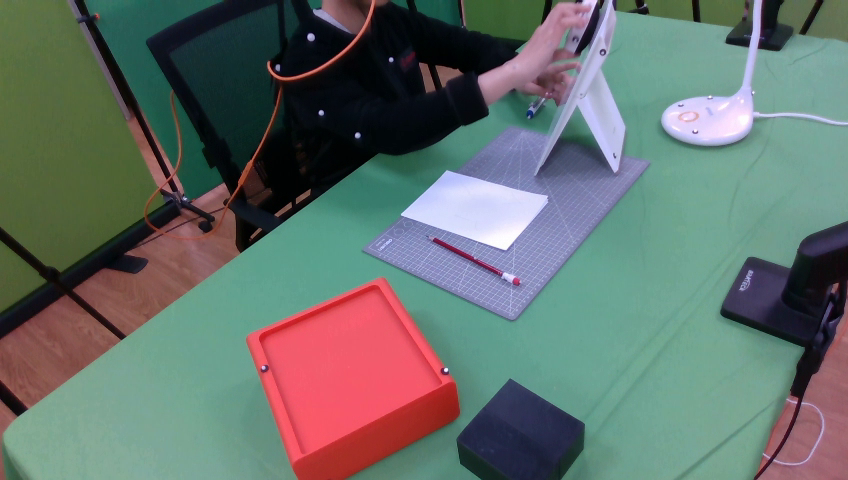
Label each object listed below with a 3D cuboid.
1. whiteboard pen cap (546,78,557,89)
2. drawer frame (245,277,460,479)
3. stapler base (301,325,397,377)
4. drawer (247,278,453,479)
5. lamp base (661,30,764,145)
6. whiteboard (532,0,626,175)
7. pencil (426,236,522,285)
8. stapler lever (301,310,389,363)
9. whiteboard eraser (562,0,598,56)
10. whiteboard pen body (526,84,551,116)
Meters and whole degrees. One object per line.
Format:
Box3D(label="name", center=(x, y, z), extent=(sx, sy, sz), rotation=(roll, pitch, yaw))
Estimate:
Box3D(label="whiteboard pen cap", center=(0.280, -0.344, 1.335), extent=(0.018, 0.018, 0.033), rotation=(15, 45, 26))
Box3D(label="drawer frame", center=(-0.093, 0.167, 0.755), extent=(0.202, 0.083, 0.211), rotation=(-23, 43, -17))
Box3D(label="stapler base", center=(-0.101, 0.143, 0.815), extent=(0.131, 0.024, 0.041), rotation=(-18, 42, -13))
Box3D(label="drawer", center=(-0.096, 0.167, 0.758), extent=(0.195, 0.073, 0.210), rotation=(-22, 43, -17))
Box3D(label="lamp base", center=(0.535, -0.287, 1.096), extent=(0.179, 0.181, 0.159), rotation=(-10, 40, -4))
Box3D(label="whiteboard", center=(0.324, -0.260, 1.052), extent=(0.144, 0.305, 0.217), rotation=(23, 44, 5))
Box3D(label="pencil", center=(0.072, 0.028, 0.941), extent=(0.192, 0.012, 0.012), rotation=(26, 52, 37))
Box3D(label="stapler lever", center=(-0.104, 0.126, 0.798), extent=(0.118, 0.040, 0.026), rotation=(-17, 42, -15))
Box3D(label="whiteboard eraser", center=(0.272, -0.364, 1.041), extent=(0.042, 0.055, 0.112), rotation=(22, 48, 4))
Box3D(label="whiteboard pen body", center=(0.251, -0.306, 1.298), extent=(0.017, 0.017, 0.141), rotation=(15, 46, 26))
